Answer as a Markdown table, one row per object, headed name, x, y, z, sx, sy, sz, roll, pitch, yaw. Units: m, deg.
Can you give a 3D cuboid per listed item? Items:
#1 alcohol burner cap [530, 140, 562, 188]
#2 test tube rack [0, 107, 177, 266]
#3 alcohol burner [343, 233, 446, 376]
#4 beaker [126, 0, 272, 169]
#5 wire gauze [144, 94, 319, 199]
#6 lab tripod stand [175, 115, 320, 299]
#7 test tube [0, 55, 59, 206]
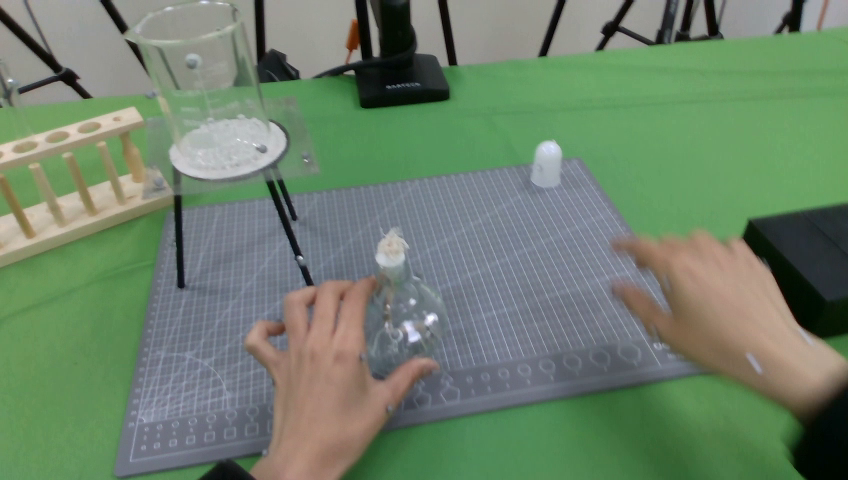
| name | x | y | z | sx | sy | sz | roll | pitch | yaw |
| --- | --- | --- | --- | --- | --- | --- | --- | --- | --- |
| alcohol burner cap | 0.130 | -0.083 | 0.642 | 0.034 | 0.048 | 0.033 | -1 | 41 | 1 |
| test tube rack | -0.377 | -0.043 | 0.581 | 0.243 | 0.086 | 0.066 | -25 | 46 | -25 |
| alcohol burner | -0.022 | 0.044 | 0.446 | 0.078 | 0.120 | 0.077 | -1 | 39 | 1 |
| beaker | -0.156 | -0.109 | 0.435 | 0.084 | 0.101 | 0.073 | -7 | 41 | -4 |
| wire gauze | -0.152 | -0.074 | 0.471 | 0.125 | 0.011 | 0.120 | -14 | 41 | -9 |
| lab tripod stand | -0.150 | -0.025 | 0.514 | 0.148 | 0.133 | 0.147 | -1 | 43 | 1 |
| test tube | -0.372 | -0.097 | 0.567 | 0.017 | 0.151 | 0.017 | 1 | 35 | -1 |
